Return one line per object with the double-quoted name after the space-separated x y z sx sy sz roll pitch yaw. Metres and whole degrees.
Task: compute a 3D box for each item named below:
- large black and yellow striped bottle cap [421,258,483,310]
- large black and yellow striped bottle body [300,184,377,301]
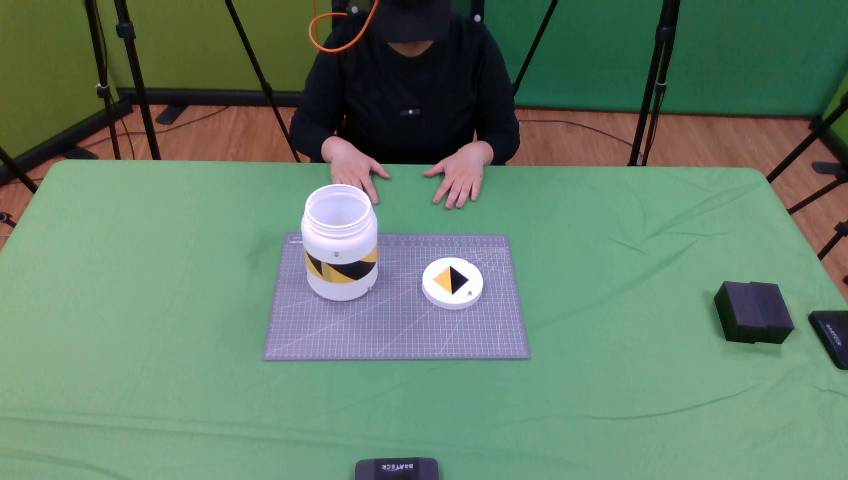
0.053 0.081 1.126 0.115 0.019 0.114 2 45 -1 "large black and yellow striped bottle cap"
-0.148 0.004 1.067 0.131 0.185 0.130 2 46 -2 "large black and yellow striped bottle body"
